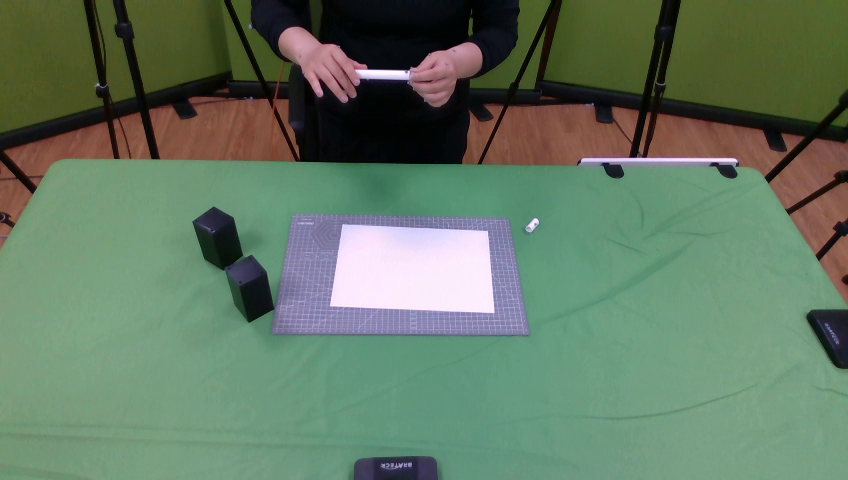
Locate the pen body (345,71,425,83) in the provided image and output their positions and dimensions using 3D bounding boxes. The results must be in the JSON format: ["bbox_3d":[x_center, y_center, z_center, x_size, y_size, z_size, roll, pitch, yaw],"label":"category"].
[{"bbox_3d":[-0.071,-0.296,1.102,0.144,0.017,0.017,-3,45,2],"label":"pen body"}]

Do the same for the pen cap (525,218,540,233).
[{"bbox_3d":[0.224,-0.031,1.248,0.017,0.017,0.038,30,51,23],"label":"pen cap"}]
